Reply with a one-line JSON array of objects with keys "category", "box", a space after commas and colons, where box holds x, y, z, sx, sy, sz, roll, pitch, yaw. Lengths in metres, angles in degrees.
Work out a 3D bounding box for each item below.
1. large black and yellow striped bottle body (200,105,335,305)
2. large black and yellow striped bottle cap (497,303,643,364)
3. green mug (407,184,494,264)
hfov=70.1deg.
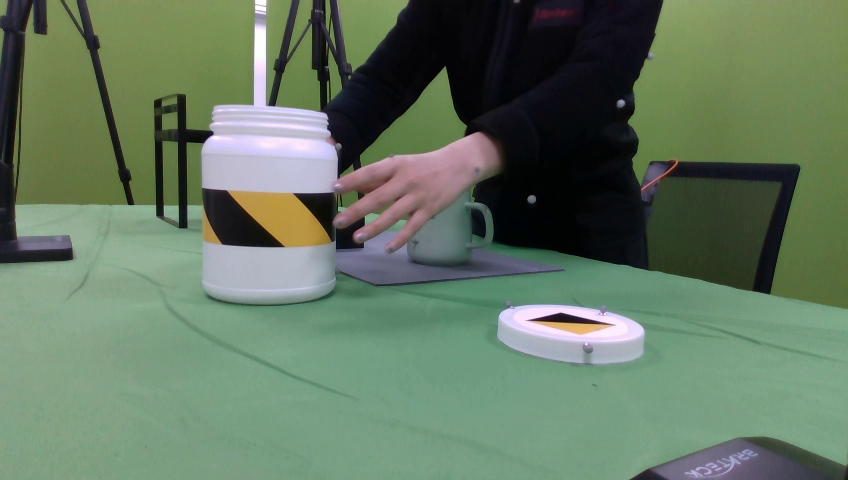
[{"category": "large black and yellow striped bottle body", "box": [-0.155, -0.038, 0.605, 0.131, 0.184, 0.130, 2, 7, 0]}, {"category": "large black and yellow striped bottle cap", "box": [0.116, 0.072, 0.486, 0.115, 0.019, 0.115, 2, 8, 0]}, {"category": "green mug", "box": [0.038, -0.022, 0.826, 0.125, 0.105, 0.093, 6, 8, 30]}]
